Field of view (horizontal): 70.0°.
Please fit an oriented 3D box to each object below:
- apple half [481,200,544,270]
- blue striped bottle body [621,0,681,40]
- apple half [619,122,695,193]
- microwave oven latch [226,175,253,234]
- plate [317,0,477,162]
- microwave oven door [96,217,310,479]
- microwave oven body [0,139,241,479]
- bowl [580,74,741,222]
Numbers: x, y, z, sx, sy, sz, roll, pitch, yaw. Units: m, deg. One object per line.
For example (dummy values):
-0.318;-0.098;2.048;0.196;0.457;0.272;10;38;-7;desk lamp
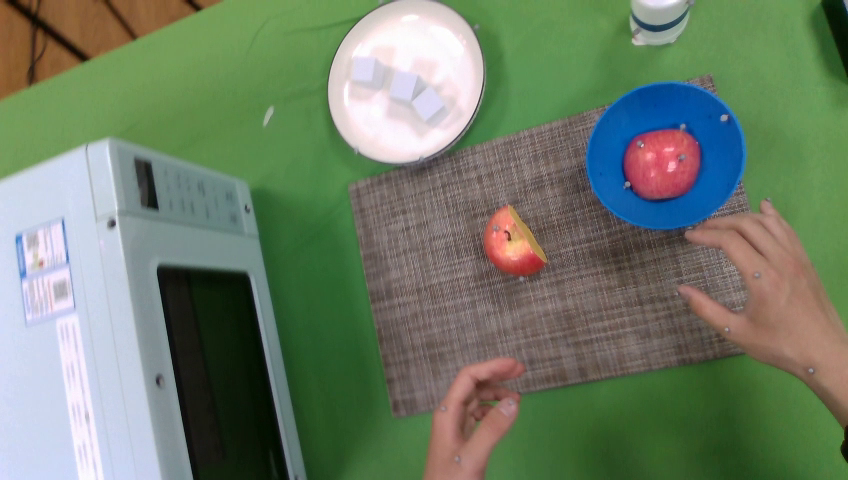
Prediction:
0.094;0.001;0.684;0.053;0.075;0.080;-36;80;16;apple half
0.239;-0.263;0.635;0.063;0.121;0.063;-1;85;17;blue striped bottle body
0.245;-0.089;0.635;0.081;0.033;0.081;-2;84;18;apple half
-0.251;-0.044;0.799;0.030;0.029;0.079;-17;82;15;microwave oven latch
-0.033;-0.197;0.760;0.207;0.039;0.207;-1;86;17;plate
-0.230;0.157;0.672;0.039;0.245;0.354;-17;81;16;microwave oven door
-0.374;0.159;0.722;0.325;0.261;0.440;-17;82;15;microwave oven body
0.245;-0.089;0.640;0.151;0.077;0.151;-1;86;18;bowl
